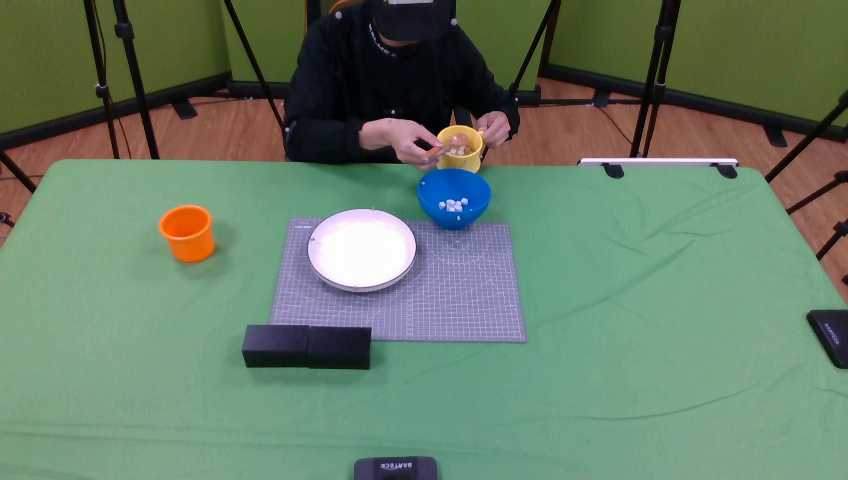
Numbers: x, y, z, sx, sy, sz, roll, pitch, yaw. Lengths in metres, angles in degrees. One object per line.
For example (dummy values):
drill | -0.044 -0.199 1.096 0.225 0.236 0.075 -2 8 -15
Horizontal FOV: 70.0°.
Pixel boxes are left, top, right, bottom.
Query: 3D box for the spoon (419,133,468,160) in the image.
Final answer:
spoon | 0.037 -0.191 1.227 0.041 0.022 0.193 25 28 19

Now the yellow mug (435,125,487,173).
yellow mug | 0.087 -0.200 1.319 0.131 0.064 0.099 -30 58 -23

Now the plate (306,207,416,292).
plate | -0.119 0.021 1.153 0.209 0.038 0.208 2 46 -2

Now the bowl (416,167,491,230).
bowl | 0.057 -0.074 1.231 0.151 0.077 0.150 3 42 -2
